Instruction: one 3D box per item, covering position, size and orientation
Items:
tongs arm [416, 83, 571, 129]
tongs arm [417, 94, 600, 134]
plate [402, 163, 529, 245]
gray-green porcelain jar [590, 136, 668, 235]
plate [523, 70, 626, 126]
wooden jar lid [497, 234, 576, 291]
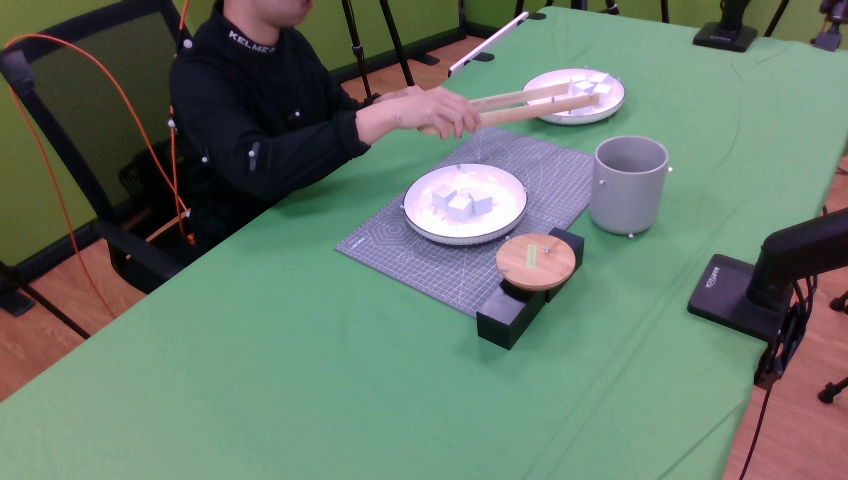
[{"bbox_3d":[0.142,-0.260,1.151,0.390,0.028,0.028,-18,40,-30],"label":"tongs arm"},{"bbox_3d":[0.166,-0.238,1.115,0.387,0.026,0.050,-16,36,-27],"label":"tongs arm"},{"bbox_3d":[0.069,-0.056,1.008,0.209,0.038,0.208,-4,40,4],"label":"plate"},{"bbox_3d":[0.314,-0.080,0.937,0.106,0.127,0.105,-4,41,4],"label":"gray-green porcelain jar"},{"bbox_3d":[0.308,-0.290,1.250,0.207,0.039,0.206,-4,40,4],"label":"plate"},{"bbox_3d":[0.154,0.032,0.834,0.108,0.021,0.108,-5,40,5],"label":"wooden jar lid"}]
